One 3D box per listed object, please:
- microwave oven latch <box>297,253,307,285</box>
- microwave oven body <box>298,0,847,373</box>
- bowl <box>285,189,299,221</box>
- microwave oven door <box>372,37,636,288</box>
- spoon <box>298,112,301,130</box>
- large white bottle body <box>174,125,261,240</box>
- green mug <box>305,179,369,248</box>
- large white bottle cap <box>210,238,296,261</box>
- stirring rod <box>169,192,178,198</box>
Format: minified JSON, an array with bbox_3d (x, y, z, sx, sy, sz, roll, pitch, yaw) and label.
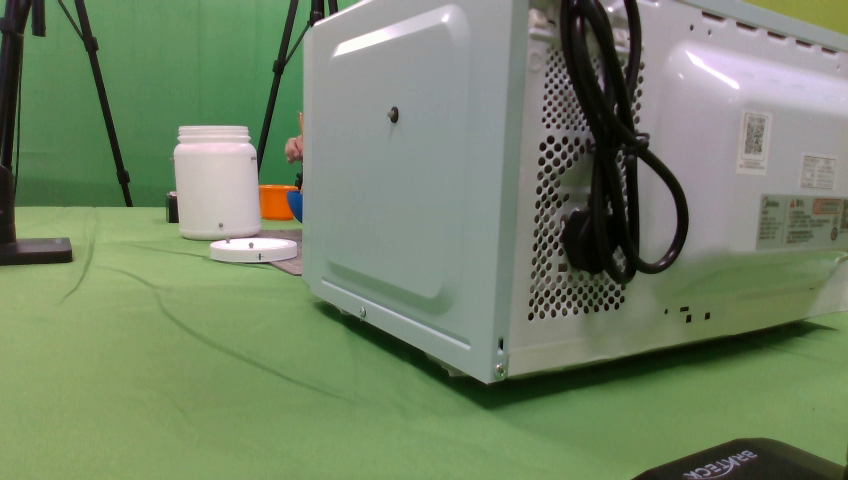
[{"bbox_3d":[-0.082,0.027,0.582,0.079,0.029,0.030,-1,7,-32],"label":"microwave oven latch"},{"bbox_3d":[0.151,-0.055,0.542,0.444,0.260,0.324,-2,7,-33],"label":"microwave oven body"},{"bbox_3d":[-0.179,-0.051,1.113,0.151,0.077,0.151,2,8,0],"label":"bowl"},{"bbox_3d":[0.109,-0.080,0.686,0.358,0.243,0.039,-2,9,-33],"label":"microwave oven door"},{"bbox_3d":[-0.222,-0.147,1.132,0.021,0.193,0.042,-7,-7,28],"label":"spoon"},{"bbox_3d":[-0.349,-0.100,1.025,0.131,0.184,0.130,-1,9,0],"label":"large white bottle body"},{"bbox_3d":[-0.133,-0.045,0.977,0.092,0.105,0.126,6,8,32],"label":"green mug"},{"bbox_3d":[-0.236,0.012,0.839,0.115,0.018,0.115,1,7,0],"label":"large white bottle cap"},{"bbox_3d":[-0.465,-0.098,1.283,0.014,0.006,0.177,42,22,17],"label":"stirring rod"}]
